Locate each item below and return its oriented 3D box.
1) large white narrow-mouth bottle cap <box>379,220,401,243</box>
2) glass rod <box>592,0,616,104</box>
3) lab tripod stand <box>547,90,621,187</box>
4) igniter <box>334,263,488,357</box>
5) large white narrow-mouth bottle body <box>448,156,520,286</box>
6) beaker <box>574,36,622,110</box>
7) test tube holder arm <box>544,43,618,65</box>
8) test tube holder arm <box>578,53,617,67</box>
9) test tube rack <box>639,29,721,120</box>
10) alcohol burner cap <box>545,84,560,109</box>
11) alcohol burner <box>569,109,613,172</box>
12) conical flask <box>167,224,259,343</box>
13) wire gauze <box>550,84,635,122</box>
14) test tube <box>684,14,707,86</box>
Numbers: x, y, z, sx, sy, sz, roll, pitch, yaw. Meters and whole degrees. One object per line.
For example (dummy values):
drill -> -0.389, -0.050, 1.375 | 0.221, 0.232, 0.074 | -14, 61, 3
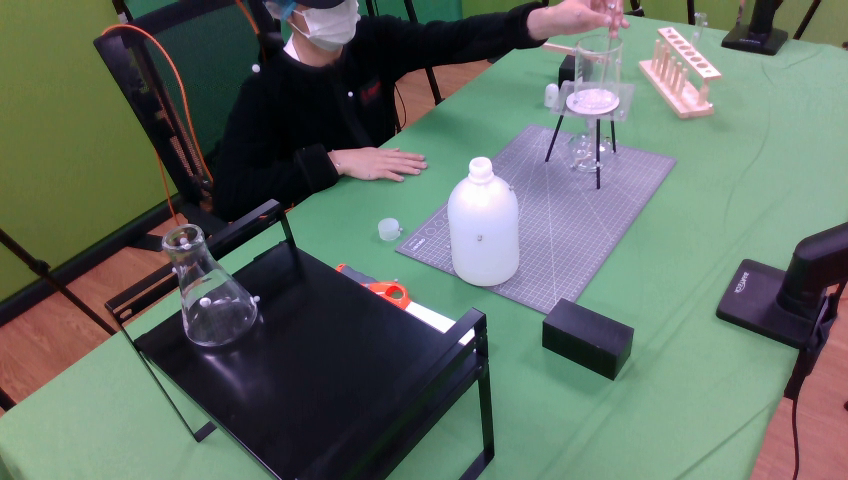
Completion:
large white narrow-mouth bottle cap -> -0.057, -0.015, 1.011 | 0.038, 0.024, 0.037 | -4, 40, 4
glass rod -> 0.285, -0.310, 0.949 | 0.008, 0.200, 0.008 | 2, 34, -1
lab tripod stand -> 0.289, -0.184, 1.062 | 0.148, 0.132, 0.147 | -6, 41, 6
igniter -> -0.030, 0.095, 0.872 | 0.274, 0.025, 0.057 | 23, 60, 31
large white narrow-mouth bottle body -> 0.086, -0.032, 0.869 | 0.102, 0.195, 0.101 | -4, 40, 4
beaker -> 0.284, -0.273, 0.990 | 0.073, 0.101, 0.084 | 15, 45, 28
test tube holder arm -> 0.345, -0.413, 1.341 | 0.177, 0.015, 0.013 | 25, 49, 32
test tube holder arm -> 0.376, -0.394, 1.314 | 0.087, 0.015, 0.010 | 26, 50, 32
test tube rack -> 0.527, -0.351, 1.262 | 0.067, 0.085, 0.241 | -8, 40, 1
alcohol burner cap -> 0.274, -0.307, 1.285 | 0.034, 0.048, 0.033 | -5, 42, 5
alcohol burner -> 0.297, -0.181, 1.073 | 0.078, 0.119, 0.077 | -5, 43, 5
conical flask -> -0.220, 0.041, 0.613 | 0.075, 0.122, 0.075 | -5, 40, 4
wire gauze -> 0.285, -0.234, 1.021 | 0.124, 0.011, 0.121 | 8, 41, 24
test tube -> 0.541, -0.379, 1.216 | 0.017, 0.151, 0.017 | -2, 44, 3
